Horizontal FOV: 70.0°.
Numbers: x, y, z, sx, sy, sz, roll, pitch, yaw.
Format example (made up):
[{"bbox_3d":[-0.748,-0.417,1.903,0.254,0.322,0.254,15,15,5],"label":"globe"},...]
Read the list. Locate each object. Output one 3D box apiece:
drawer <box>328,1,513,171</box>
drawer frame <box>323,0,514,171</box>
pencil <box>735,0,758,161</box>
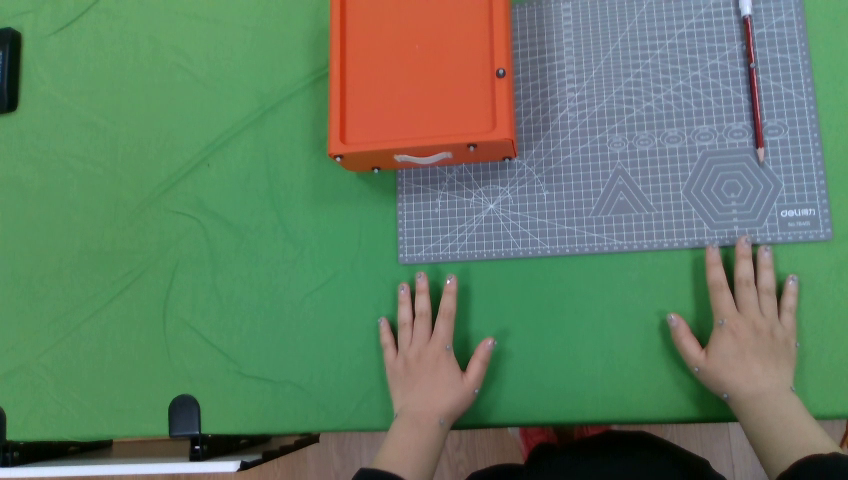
[{"bbox_3d":[-0.005,-0.190,0.675,0.194,0.073,0.211,-4,80,12],"label":"drawer"},{"bbox_3d":[-0.006,-0.192,0.674,0.201,0.083,0.212,-4,80,12],"label":"drawer frame"},{"bbox_3d":[0.342,-0.178,0.639,0.012,0.012,0.193,-3,84,11],"label":"pencil"}]
